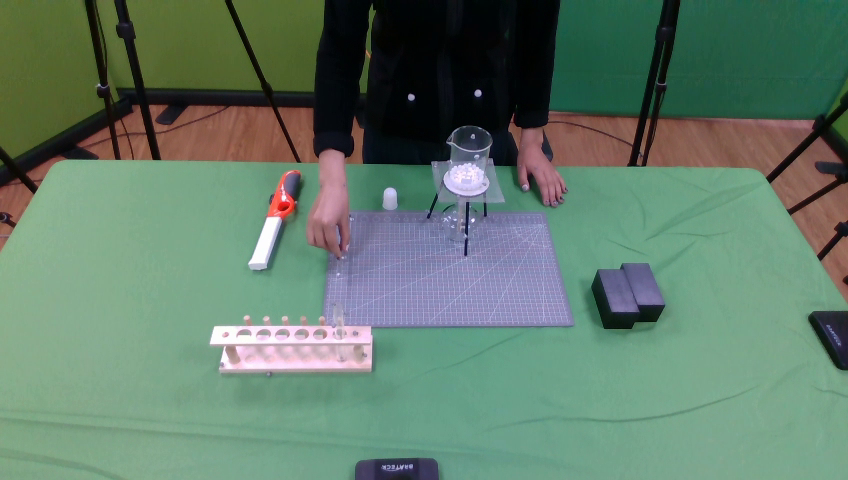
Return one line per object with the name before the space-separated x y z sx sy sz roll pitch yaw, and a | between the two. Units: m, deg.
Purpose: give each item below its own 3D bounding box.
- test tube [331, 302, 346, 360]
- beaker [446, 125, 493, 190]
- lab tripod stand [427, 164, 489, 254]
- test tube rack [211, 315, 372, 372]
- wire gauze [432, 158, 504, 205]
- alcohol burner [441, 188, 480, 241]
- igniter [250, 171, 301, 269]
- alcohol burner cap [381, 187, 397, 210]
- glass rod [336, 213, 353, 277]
test tube | -0.132 0.144 0.938 0.017 0.151 0.017 2 49 -3
beaker | 0.079 -0.148 1.106 0.084 0.101 0.073 -3 47 -7
lab tripod stand | 0.078 -0.068 1.188 0.148 0.132 0.147 3 47 -3
test tube rack | -0.208 0.163 0.982 0.242 0.085 0.066 1 46 -4
wire gauze | 0.081 -0.111 1.138 0.125 0.011 0.120 0 48 -7
alcohol burner | 0.073 -0.055 1.189 0.078 0.120 0.077 1 48 -1
igniter | -0.297 -0.049 1.221 0.057 0.025 0.275 -2 45 9
alcohol burner cap | -0.072 -0.090 1.266 0.034 0.048 0.033 3 47 -3
glass rod | -0.152 0.006 1.167 0.008 0.008 0.198 3 37 0
